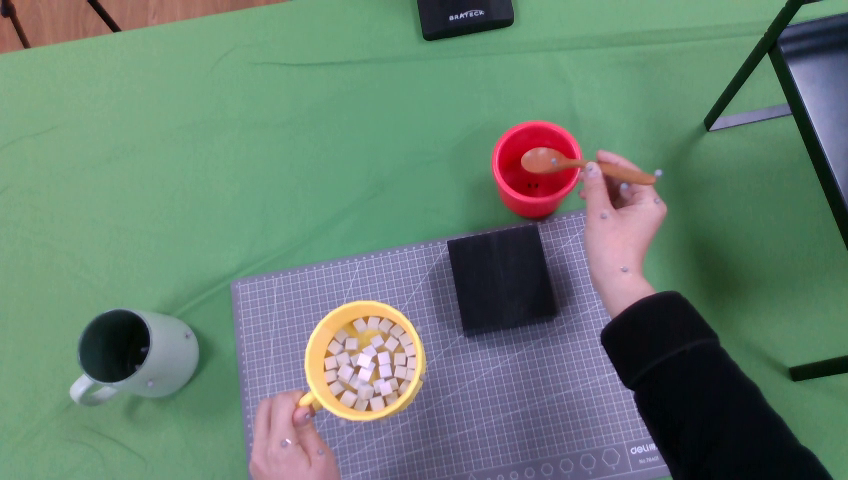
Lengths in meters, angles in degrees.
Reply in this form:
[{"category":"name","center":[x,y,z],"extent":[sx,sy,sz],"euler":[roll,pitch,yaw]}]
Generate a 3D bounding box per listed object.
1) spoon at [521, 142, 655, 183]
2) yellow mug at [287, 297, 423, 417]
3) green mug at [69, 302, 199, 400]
[{"category":"spoon","center":[0.156,-0.077,0.602],"extent":[0.041,0.192,0.022],"euler":[-35,112,-11]},{"category":"yellow mug","center":[-0.064,0.113,0.533],"extent":[0.131,0.064,0.099],"euler":[-36,77,-7]},{"category":"green mug","center":[-0.317,0.126,0.650],"extent":[0.125,0.105,0.092],"euler":[-42,76,-8]}]
